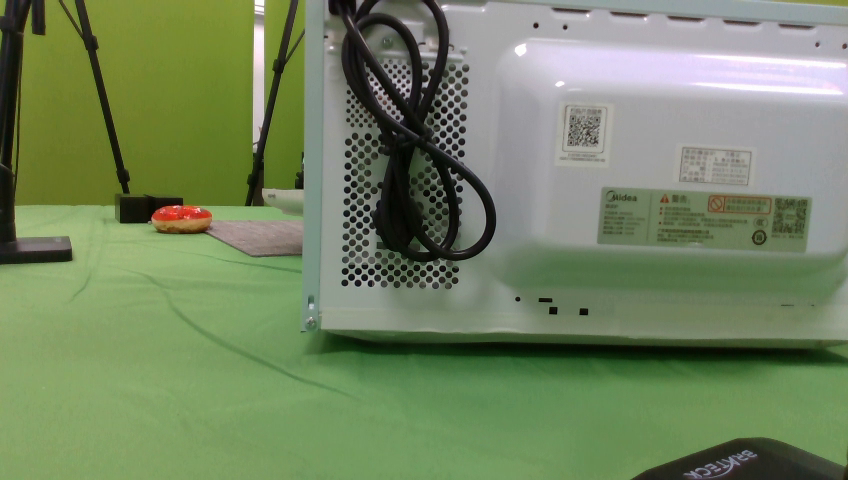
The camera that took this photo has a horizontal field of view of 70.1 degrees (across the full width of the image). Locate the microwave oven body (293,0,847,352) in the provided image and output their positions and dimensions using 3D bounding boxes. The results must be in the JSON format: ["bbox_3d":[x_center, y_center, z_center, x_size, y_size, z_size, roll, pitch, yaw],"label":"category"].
[{"bbox_3d":[0.122,-0.055,0.550,0.442,0.260,0.325,3,7,-5],"label":"microwave oven body"}]

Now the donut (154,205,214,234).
[{"bbox_3d":[-0.426,-0.037,1.075,0.099,0.048,0.099,2,12,0],"label":"donut"}]

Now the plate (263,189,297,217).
[{"bbox_3d":[-0.136,-0.053,0.916,0.208,0.039,0.207,4,4,0],"label":"plate"}]

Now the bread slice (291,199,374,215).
[{"bbox_3d":[-0.138,-0.050,0.909,0.105,0.019,0.131,3,3,6],"label":"bread slice"}]

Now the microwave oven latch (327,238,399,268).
[{"bbox_3d":[-0.069,0.015,0.694,0.079,0.029,0.030,3,7,-3],"label":"microwave oven latch"}]

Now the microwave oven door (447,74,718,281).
[{"bbox_3d":[0.190,-0.090,0.811,0.354,0.243,0.039,8,10,36],"label":"microwave oven door"}]
